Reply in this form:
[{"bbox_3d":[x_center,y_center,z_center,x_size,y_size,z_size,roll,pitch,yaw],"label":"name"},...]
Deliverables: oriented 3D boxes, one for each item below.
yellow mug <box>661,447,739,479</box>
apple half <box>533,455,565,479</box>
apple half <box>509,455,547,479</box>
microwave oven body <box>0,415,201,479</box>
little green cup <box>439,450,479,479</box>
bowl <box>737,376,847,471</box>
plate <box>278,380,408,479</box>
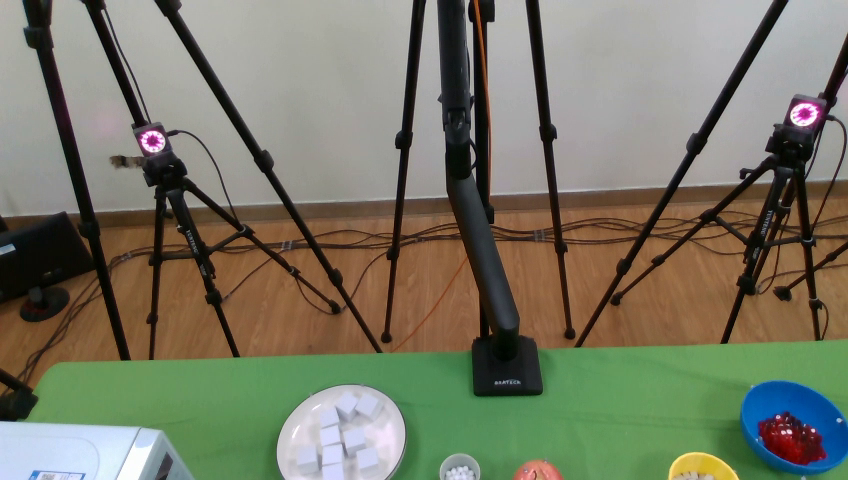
[{"bbox_3d":[0.381,0.365,0.866,0.131,0.064,0.099,-24,46,-19],"label":"yellow mug"},{"bbox_3d":[0.188,0.352,0.892,0.033,0.082,0.080,-19,44,-9],"label":"apple half"},{"bbox_3d":[0.152,0.364,0.884,0.053,0.075,0.080,-19,48,-8],"label":"apple half"},{"bbox_3d":[-0.492,0.458,0.692,0.326,0.262,0.437,1,43,5],"label":"microwave oven body"},{"bbox_3d":[0.054,0.358,0.926,0.061,0.039,0.061,-3,42,3],"label":"little green cup"},{"bbox_3d":[0.551,0.291,0.923,0.151,0.077,0.150,-3,42,3],"label":"bowl"},{"bbox_3d":[-0.128,0.323,0.980,0.207,0.039,0.205,-2,42,3],"label":"plate"}]
